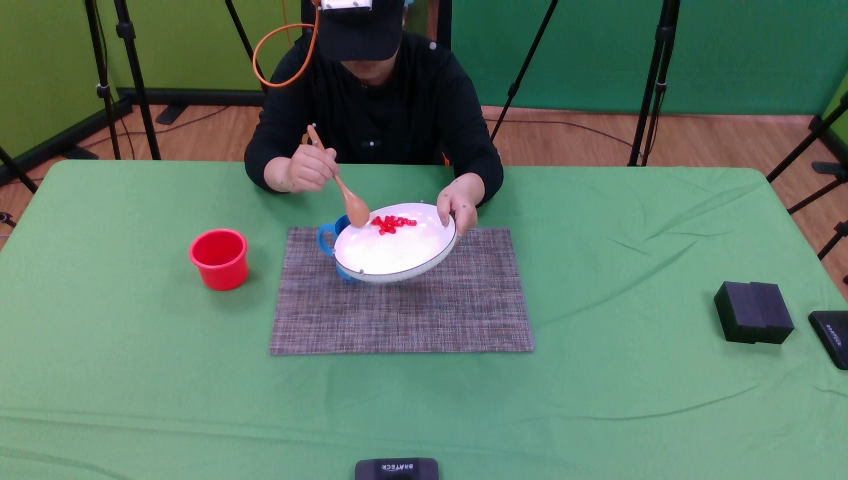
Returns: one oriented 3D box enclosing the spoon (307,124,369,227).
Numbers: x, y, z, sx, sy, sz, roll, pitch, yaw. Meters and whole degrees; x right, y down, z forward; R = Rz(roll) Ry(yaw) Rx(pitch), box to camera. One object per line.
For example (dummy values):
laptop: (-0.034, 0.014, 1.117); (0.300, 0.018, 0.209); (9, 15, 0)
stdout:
spoon: (-0.150, -0.108, 1.032); (0.041, 0.021, 0.194); (-34, 100, -22)

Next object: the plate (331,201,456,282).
plate: (-0.048, 0.006, 1.000); (0.207, 0.039, 0.206); (-9, 33, 6)

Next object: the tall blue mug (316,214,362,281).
tall blue mug: (-0.142, 0.014, 1.109); (0.107, 0.108, 0.077); (-5, 48, -9)
